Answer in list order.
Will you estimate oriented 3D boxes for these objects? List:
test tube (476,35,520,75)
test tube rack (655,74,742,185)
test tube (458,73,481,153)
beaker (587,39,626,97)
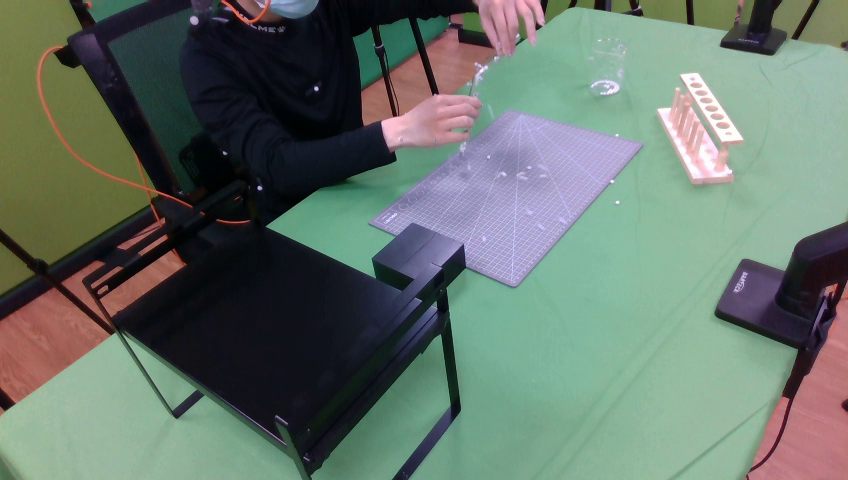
[{"bbox_3d":[0.134,-0.332,1.077,0.017,0.017,0.151,19,46,27],"label":"test tube"},{"bbox_3d":[0.488,-0.205,1.093,0.067,0.085,0.241,-3,41,5],"label":"test tube rack"},{"bbox_3d":[0.080,-0.223,1.075,0.017,0.150,0.017,7,34,-5],"label":"test tube"},{"bbox_3d":[0.386,-0.361,1.280,0.074,0.101,0.083,-22,43,-15],"label":"beaker"}]
